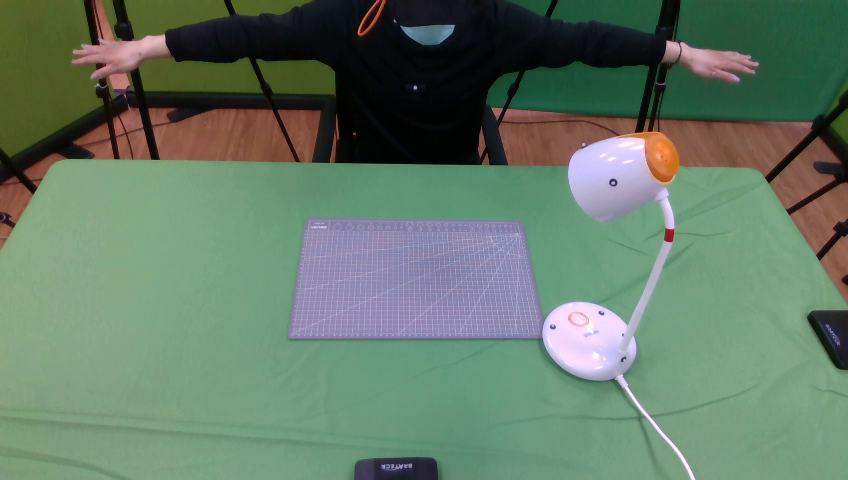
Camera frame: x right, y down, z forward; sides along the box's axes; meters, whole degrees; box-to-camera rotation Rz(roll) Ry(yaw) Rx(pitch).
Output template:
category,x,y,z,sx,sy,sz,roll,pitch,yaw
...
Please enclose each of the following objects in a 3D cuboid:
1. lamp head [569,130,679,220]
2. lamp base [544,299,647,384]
category,x,y,z,sx,sy,sz,roll,pitch,yaw
lamp head,0.272,-0.090,0.798,0.113,0.122,0.112,7,78,-33
lamp base,0.299,0.124,0.984,0.161,0.181,0.178,-23,55,-23
